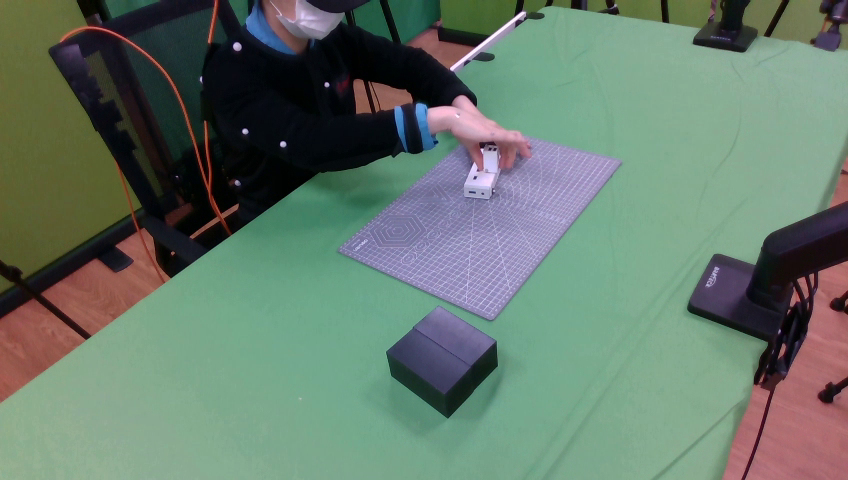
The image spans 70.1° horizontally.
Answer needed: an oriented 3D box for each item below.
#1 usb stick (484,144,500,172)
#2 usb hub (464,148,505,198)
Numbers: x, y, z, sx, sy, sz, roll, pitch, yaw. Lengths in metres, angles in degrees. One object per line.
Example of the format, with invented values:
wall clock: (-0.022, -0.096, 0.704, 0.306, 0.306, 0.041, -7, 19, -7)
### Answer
usb stick: (0.119, -0.137, 1.058, 0.027, 0.059, 0.021, 9, 46, 13)
usb hub: (0.110, -0.122, 1.087, 0.049, 0.025, 0.125, 8, 43, 16)
